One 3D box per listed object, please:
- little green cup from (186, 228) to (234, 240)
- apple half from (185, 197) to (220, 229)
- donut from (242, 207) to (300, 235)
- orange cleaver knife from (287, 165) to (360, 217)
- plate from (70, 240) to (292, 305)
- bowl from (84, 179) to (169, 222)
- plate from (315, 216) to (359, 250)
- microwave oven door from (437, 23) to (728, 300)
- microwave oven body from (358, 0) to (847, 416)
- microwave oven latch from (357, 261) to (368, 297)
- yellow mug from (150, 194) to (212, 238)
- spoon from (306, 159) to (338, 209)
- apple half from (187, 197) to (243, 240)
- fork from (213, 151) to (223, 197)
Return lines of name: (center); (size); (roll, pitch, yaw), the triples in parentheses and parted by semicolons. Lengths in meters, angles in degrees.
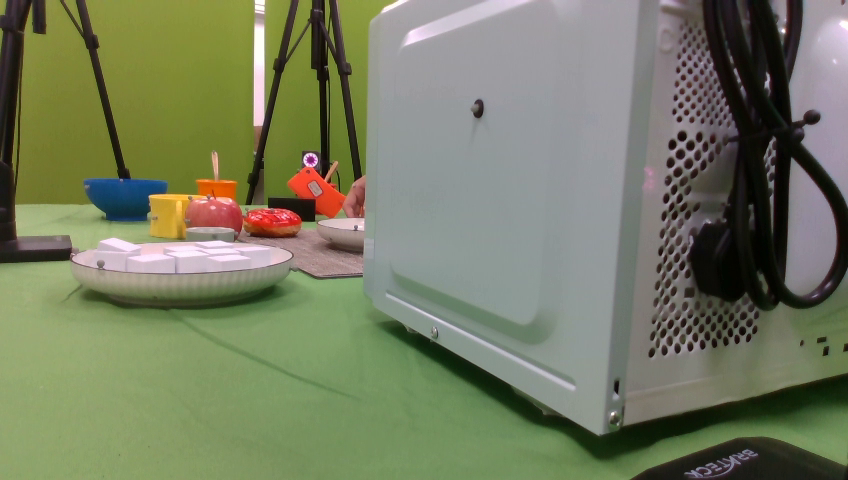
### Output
little green cup: (-0.284, 0.005, 0.805); (0.061, 0.038, 0.061); (2, 8, 0)
apple half: (-0.338, -0.031, 0.927); (0.032, 0.081, 0.081); (12, 12, 31)
donut: (-0.263, -0.031, 1.039); (0.099, 0.048, 0.099); (4, 9, 0)
orange cleaver knife: (-0.210, -0.093, 1.382); (0.212, 0.077, 0.012); (33, 1, -15)
plate: (-0.242, 0.031, 0.618); (0.208, 0.039, 0.207); (2, 8, 0)
bowl: (-0.584, -0.078, 1.194); (0.151, 0.077, 0.151); (3, 8, 0)
plate: (-0.068, -0.010, 0.963); (0.209, 0.038, 0.209); (3, 8, 0)
microwave oven door: (0.181, -0.072, 0.621); (0.358, 0.243, 0.039); (-2, 8, -29)
microwave oven body: (0.211, -0.047, 0.475); (0.444, 0.260, 0.324); (-1, 7, -28)
microwave oven latch: (-0.019, 0.033, 0.531); (0.079, 0.029, 0.030); (-1, 7, -27)
yellow mug: (-0.401, -0.039, 1.003); (0.100, 0.064, 0.130); (0, 9, -20)
spoon: (-0.257, -0.147, 1.567); (0.041, 0.022, 0.193); (2, 51, 20)
apple half: (-0.305, -0.026, 0.907); (0.053, 0.074, 0.081); (12, 8, 31)
fork: (-0.494, -0.143, 1.442); (0.028, 0.018, 0.206); (-2, 52, -20)
